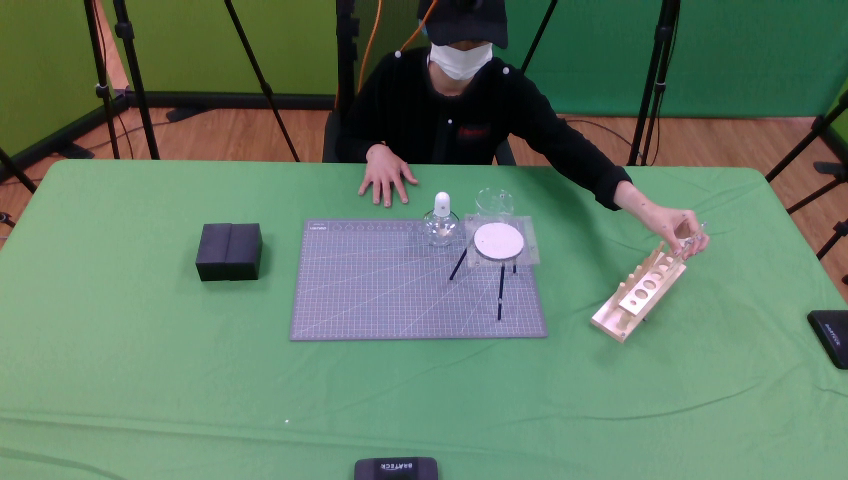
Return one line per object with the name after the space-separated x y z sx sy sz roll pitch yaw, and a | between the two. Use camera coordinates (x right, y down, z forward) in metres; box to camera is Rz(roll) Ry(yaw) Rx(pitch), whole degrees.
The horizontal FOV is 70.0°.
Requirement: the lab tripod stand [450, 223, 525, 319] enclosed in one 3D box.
0.120 0.046 1.080 0.148 0.132 0.147 1 47 -1 | lab tripod stand

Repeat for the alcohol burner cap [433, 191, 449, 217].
0.033 -0.070 1.150 0.034 0.048 0.033 0 45 0 | alcohol burner cap

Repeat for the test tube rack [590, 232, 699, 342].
0.407 0.074 1.112 0.066 0.085 0.242 35 54 26 | test tube rack

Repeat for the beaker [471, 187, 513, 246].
0.134 -0.042 1.190 0.083 0.101 0.074 34 53 25 | beaker

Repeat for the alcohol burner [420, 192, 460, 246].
0.032 -0.046 1.176 0.078 0.120 0.077 2 44 -1 | alcohol burner

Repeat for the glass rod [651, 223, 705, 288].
0.441 0.034 1.061 0.008 0.200 0.008 5 52 -6 | glass rod

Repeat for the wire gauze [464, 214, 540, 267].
0.131 -0.002 1.034 0.121 0.011 0.124 1 45 -2 | wire gauze
